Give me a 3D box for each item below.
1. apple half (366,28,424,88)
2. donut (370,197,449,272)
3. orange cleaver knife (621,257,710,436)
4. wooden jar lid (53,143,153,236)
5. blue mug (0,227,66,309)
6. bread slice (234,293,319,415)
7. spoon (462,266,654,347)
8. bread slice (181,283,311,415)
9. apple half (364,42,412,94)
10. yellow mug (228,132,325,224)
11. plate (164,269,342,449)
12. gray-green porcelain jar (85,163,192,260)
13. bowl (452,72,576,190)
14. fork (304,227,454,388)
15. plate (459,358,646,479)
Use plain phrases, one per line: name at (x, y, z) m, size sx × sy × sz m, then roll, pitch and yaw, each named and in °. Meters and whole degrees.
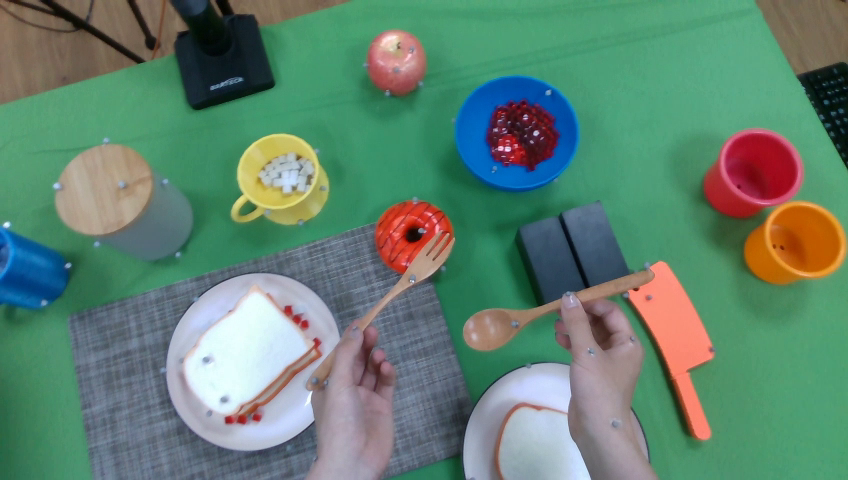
apple half at (-0.031, -0.245, 0.805) m, size 0.080 × 0.075 × 0.053 m, roll 37°, pitch 73°, yaw 15°
donut at (-0.017, -0.006, 0.750) m, size 0.099 × 0.048 × 0.098 m, roll 0°, pitch 75°, yaw 1°
orange cleaver knife at (0.301, 0.123, 0.722) m, size 0.077 × 0.012 × 0.210 m, roll -15°, pitch 73°, yaw -9°
wooden jar lid at (-0.352, -0.054, 0.671) m, size 0.108 × 0.021 × 0.107 m, roll -1°, pitch 73°, yaw 3°
blue mug at (-0.512, 0.045, 0.724) m, size 0.116 × 0.106 × 0.082 m, roll -42°, pitch 77°, yaw -9°
bread slice at (-0.207, 0.142, 0.721) m, size 0.104 × 0.019 × 0.131 m, roll 43°, pitch 79°, yaw 12°
spoon at (0.121, 0.061, 0.570) m, size 0.193 × 0.022 × 0.041 m, roll -24°, pitch 65°, yaw 30°
bread slice at (-0.208, 0.133, 0.696) m, size 0.106 × 0.018 × 0.134 m, roll 40°, pitch 77°, yaw 14°
apple half at (-0.054, -0.216, 0.796) m, size 0.081 × 0.082 × 0.032 m, roll 37°, pitch 74°, yaw 11°
yellow mug at (-0.192, -0.067, 0.765) m, size 0.131 × 0.064 × 0.099 m, roll -41°, pitch 77°, yaw -8°
plate at (-0.198, 0.139, 0.720) m, size 0.207 × 0.039 × 0.206 m, roll 0°, pitch 75°, yaw 2°
gray-green porcelain jar at (-0.350, -0.036, 0.731) m, size 0.106 × 0.127 × 0.105 m, roll 0°, pitch 74°, yaw 2°
bowl at (0.109, -0.124, 0.765) m, size 0.151 × 0.077 × 0.150 m, roll 0°, pitch 75°, yaw 2°
fork at (-0.042, 0.063, 0.587) m, size 0.028 × 0.019 × 0.207 m, roll 36°, pitch 66°, yaw 18°
plate at (0.142, 0.240, 0.685) m, size 0.209 × 0.038 × 0.208 m, roll 0°, pitch 74°, yaw 1°
